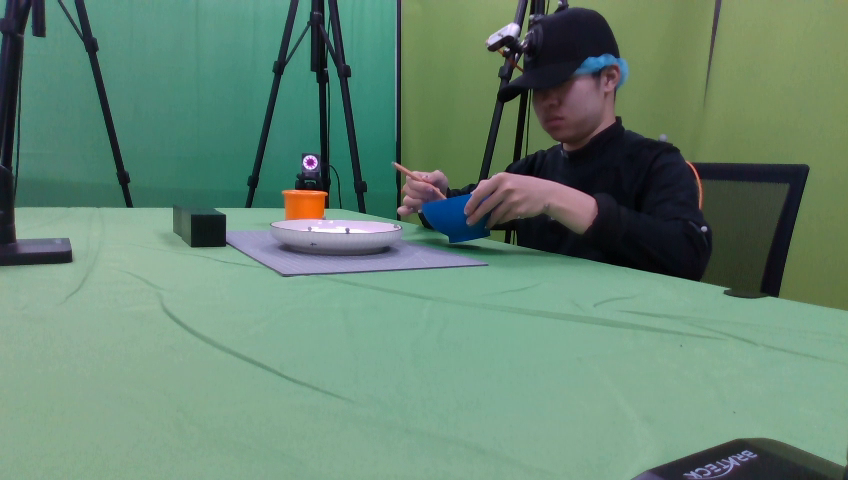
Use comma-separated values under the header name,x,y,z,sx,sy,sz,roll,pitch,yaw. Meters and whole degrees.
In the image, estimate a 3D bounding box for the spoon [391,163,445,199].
name,x,y,z,sx,sy,sz,roll,pitch,yaw
spoon,0.020,-0.084,1.082,0.193,0.021,0.042,39,17,6

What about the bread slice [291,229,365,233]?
name,x,y,z,sx,sy,sz,roll,pitch,yaw
bread slice,-0.143,-0.003,0.953,0.135,0.018,0.106,-1,8,-37

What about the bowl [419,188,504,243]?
name,x,y,z,sx,sy,sz,roll,pitch,yaw
bowl,0.072,-0.039,1.053,0.151,0.077,0.151,-11,2,1

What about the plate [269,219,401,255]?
name,x,y,z,sx,sy,sz,roll,pitch,yaw
plate,-0.140,-0.006,0.958,0.209,0.038,0.209,3,7,0
